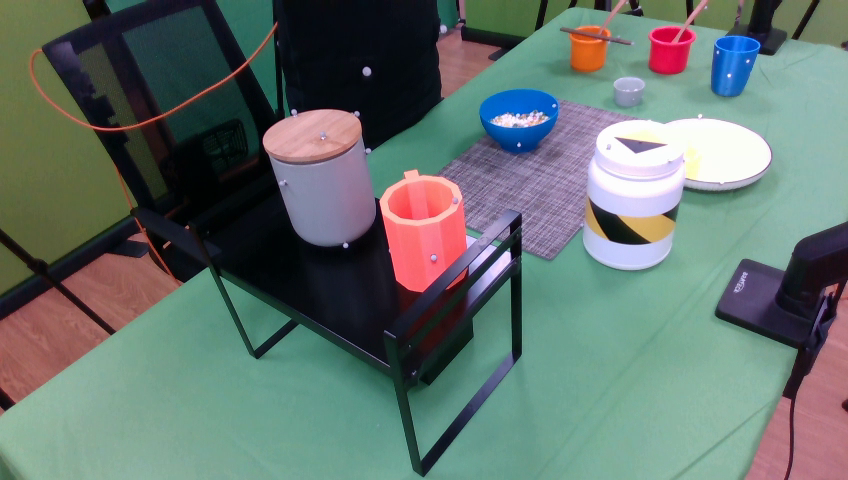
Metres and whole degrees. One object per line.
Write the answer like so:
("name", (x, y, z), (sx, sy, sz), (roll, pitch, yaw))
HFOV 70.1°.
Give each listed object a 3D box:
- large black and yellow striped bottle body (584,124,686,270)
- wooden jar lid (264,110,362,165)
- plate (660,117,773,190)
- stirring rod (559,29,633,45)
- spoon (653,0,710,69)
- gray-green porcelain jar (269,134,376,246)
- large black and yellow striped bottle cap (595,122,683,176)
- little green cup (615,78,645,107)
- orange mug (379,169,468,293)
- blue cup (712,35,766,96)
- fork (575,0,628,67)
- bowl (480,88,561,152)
("large black and yellow striped bottle body", (0.304, -0.063, 0.880), (0.131, 0.185, 0.130), (-5, 41, 5))
("wooden jar lid", (-0.122, -0.112, 0.673), (0.108, 0.021, 0.108), (-4, 37, 4))
("plate", (0.495, -0.148, 1.063), (0.209, 0.038, 0.208), (-5, 40, 4))
("stirring rod", (0.380, -0.452, 1.344), (0.174, 0.006, 0.014), (25, 48, 33))
("spoon", (0.573, -0.459, 1.332), (0.041, 0.022, 0.193), (44, 105, 41))
("gray-green porcelain jar", (-0.115, -0.064, 0.715), (0.106, 0.127, 0.105), (-4, 40, 4))
("large black and yellow striped bottle cap", (0.293, -0.126, 0.826), (0.115, 0.019, 0.114), (-3, 40, 3))
("little green cup", (0.426, -0.306, 1.257), (0.061, 0.039, 0.061), (-4, 40, 4))
("orange mug", (-0.002, -0.019, 0.665), (0.083, 0.101, 0.125), (-12, 45, -4))
("blue cup", (0.627, -0.350, 1.227), (0.092, 0.100, 0.092), (-4, 39, 4))
("fork", (0.413, -0.481, 1.377), (0.207, 0.019, 0.028), (-56, 43, 12))
("bowl", (0.185, -0.222, 1.160), (0.151, 0.077, 0.150), (-4, 40, 4))
